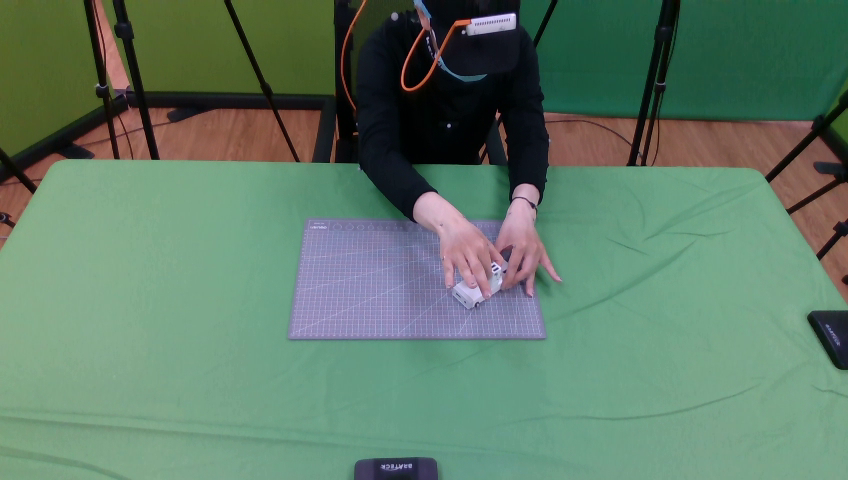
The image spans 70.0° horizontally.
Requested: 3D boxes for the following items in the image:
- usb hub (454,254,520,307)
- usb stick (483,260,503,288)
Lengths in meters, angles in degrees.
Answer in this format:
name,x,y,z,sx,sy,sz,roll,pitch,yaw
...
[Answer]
name,x,y,z,sx,sy,sz,roll,pitch,yaw
usb hub,0.117,0.075,1.119,0.125,0.025,0.049,-29,62,-28
usb stick,0.122,0.066,1.085,0.021,0.059,0.027,-28,57,-30
